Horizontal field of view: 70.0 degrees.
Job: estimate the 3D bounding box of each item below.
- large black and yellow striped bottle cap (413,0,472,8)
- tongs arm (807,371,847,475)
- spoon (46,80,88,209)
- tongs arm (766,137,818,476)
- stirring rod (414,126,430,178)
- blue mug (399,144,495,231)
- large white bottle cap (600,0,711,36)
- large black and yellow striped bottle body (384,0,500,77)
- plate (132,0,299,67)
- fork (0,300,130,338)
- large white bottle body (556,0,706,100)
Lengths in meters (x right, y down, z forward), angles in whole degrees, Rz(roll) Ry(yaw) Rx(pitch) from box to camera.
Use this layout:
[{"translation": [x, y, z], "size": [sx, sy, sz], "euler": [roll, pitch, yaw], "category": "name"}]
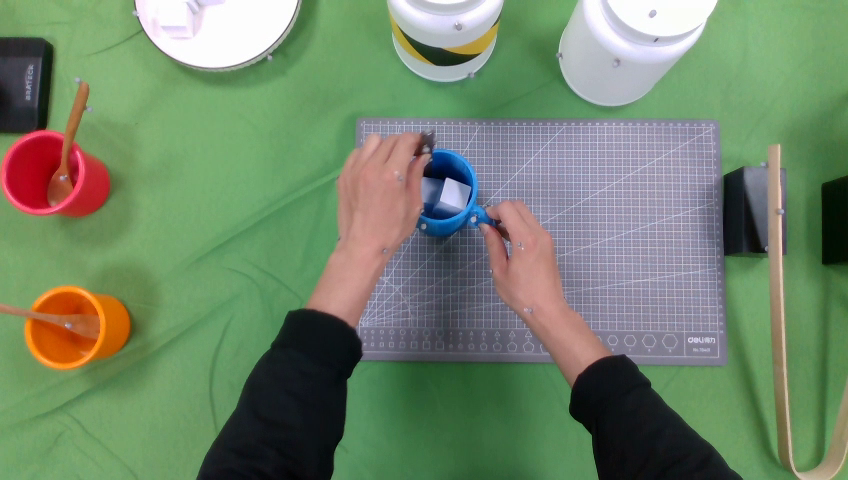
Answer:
[{"translation": [0.018, -0.286, 0.593], "size": [0.115, 0.019, 0.114], "euler": [0, 86, 0], "category": "large black and yellow striped bottle cap"}, {"translation": [0.494, 0.079, 0.680], "size": [0.028, 0.027, 0.388], "euler": [9, 96, -7], "category": "tongs arm"}, {"translation": [-0.403, -0.104, 0.686], "size": [0.041, 0.021, 0.194], "euler": [46, 130, 8], "category": "spoon"}, {"translation": [0.412, 0.078, 0.678], "size": [0.051, 0.026, 0.385], "euler": [-4, 97, -2], "category": "tongs arm"}, {"translation": [-0.001, -0.089, 0.640], "size": [0.014, 0.176, 0.006], "euler": [-21, 82, -2], "category": "stirring rod"}, {"translation": [0.030, -0.048, 0.693], "size": [0.116, 0.106, 0.082], "euler": [31, 86, 3], "category": "blue mug"}, {"translation": [0.224, -0.255, 0.586], "size": [0.115, 0.018, 0.114], "euler": [0, 84, 0], "category": "large white bottle cap"}, {"translation": [0.020, -0.275, 0.676], "size": [0.131, 0.184, 0.130], "euler": [0, 84, 1], "category": "large black and yellow striped bottle body"}, {"translation": [-0.255, -0.313, 0.756], "size": [0.208, 0.039, 0.207], "euler": [0, 85, 1], "category": "plate"}, {"translation": [-0.434, 0.078, 0.667], "size": [0.209, 0.018, 0.028], "euler": [23, 83, -40], "category": "fork"}, {"translation": [0.226, -0.246, 0.670], "size": [0.130, 0.185, 0.130], "euler": [0, 84, 1], "category": "large white bottle body"}]
